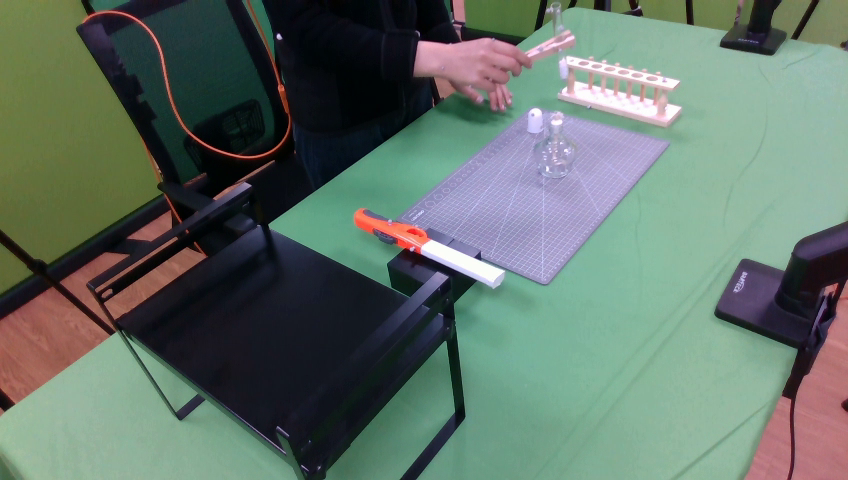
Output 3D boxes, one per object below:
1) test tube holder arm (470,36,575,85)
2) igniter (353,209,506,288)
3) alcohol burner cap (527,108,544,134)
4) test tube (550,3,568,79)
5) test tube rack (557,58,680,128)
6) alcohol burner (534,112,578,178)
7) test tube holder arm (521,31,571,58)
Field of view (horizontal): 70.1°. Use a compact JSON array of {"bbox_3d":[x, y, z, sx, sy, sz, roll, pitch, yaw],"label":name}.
[{"bbox_3d":[0.161,-0.294,0.989,0.178,0.015,0.013,-22,54,4],"label":"test tube holder arm"},{"bbox_3d":[-0.003,0.006,0.892,0.274,0.025,0.057,24,37,31],"label":"igniter"},{"bbox_3d":[0.222,-0.238,1.203,0.034,0.048,0.033,-5,41,5],"label":"alcohol burner cap"},{"bbox_3d":[0.222,-0.321,0.989,0.017,0.151,0.017,-9,56,14],"label":"test tube"},{"bbox_3d":[0.395,-0.309,1.230,0.240,0.085,0.067,25,50,33],"label":"test tube rack"},{"bbox_3d":[0.232,-0.170,1.066,0.078,0.119,0.077,-5,39,5],"label":"alcohol burner"},{"bbox_3d":[0.200,-0.316,0.990,0.088,0.015,0.010,-28,54,0],"label":"test tube holder arm"}]
